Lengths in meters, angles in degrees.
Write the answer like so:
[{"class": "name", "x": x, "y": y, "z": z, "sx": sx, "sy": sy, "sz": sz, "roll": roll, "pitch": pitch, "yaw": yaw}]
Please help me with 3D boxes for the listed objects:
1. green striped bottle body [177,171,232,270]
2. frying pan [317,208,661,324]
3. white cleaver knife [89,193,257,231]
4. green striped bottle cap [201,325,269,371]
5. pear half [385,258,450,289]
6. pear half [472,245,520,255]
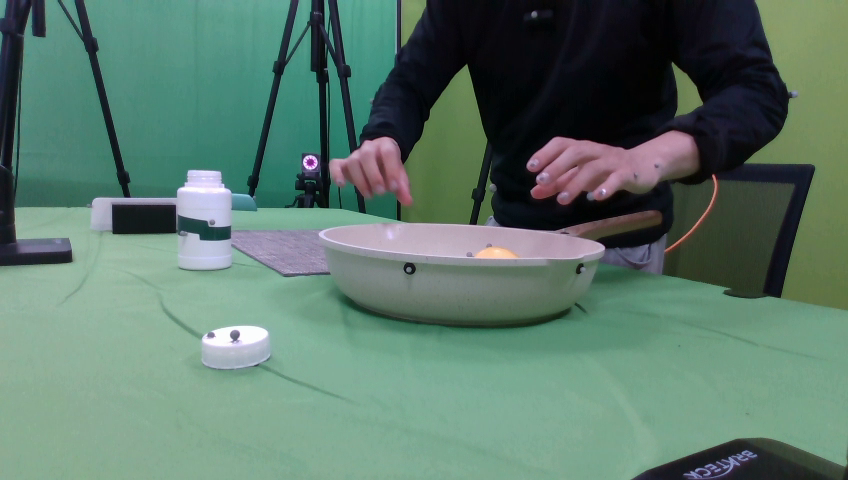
[{"class": "green striped bottle body", "x": -0.273, "y": -0.026, "z": 0.752, "sx": 0.063, "sy": 0.119, "sz": 0.063, "roll": 2, "pitch": 7, "yaw": 0}, {"class": "frying pan", "x": 0.121, "y": 0.006, "z": 0.691, "sx": 0.490, "sy": 0.102, "sz": 0.305, "roll": -12, "pitch": 15, "yaw": -33}, {"class": "white cleaver knife", "x": -0.454, "y": -0.052, "z": 1.115, "sx": 0.288, "sy": 0.066, "sz": 0.021, "roll": -4, "pitch": 14, "yaw": -27}, {"class": "green striped bottle cap", "x": -0.129, "y": 0.073, "z": 0.415, "sx": 0.044, "sy": 0.020, "sz": 0.044, "roll": 3, "pitch": 8, "yaw": 0}, {"class": "pear half", "x": -0.003, "y": 0.036, "z": 0.681, "sx": 0.070, "sy": 0.031, "sz": 0.088, "roll": 14, "pitch": 17, "yaw": 37}, {"class": "pear half", "x": 0.071, "y": 0.032, "z": 0.653, "sx": 0.077, "sy": 0.056, "sz": 0.109, "roll": 5, "pitch": 2, "yaw": -25}]
